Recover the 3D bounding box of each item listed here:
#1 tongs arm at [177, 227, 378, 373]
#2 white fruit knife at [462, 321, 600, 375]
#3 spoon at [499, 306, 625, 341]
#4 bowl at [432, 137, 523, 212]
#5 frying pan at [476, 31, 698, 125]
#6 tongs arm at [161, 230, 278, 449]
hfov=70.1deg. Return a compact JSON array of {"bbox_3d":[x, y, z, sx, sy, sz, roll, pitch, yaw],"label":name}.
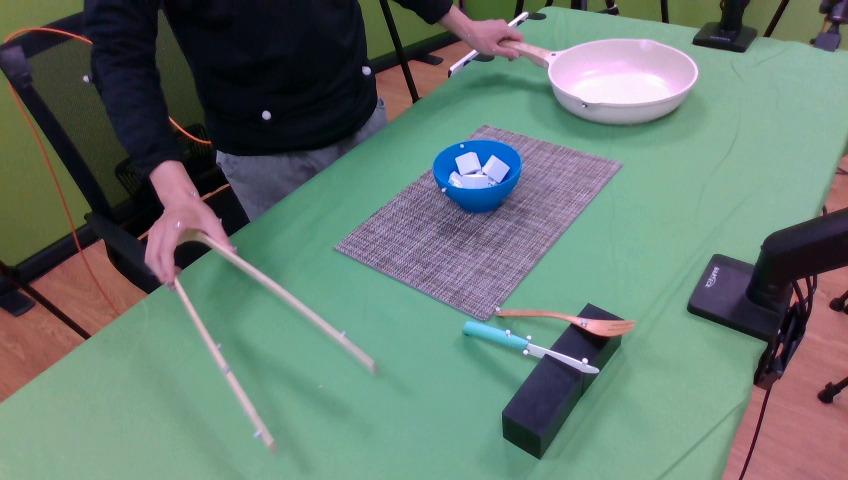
[{"bbox_3d":[-0.207,0.071,0.816,0.384,0.028,0.028,30,60,27],"label":"tongs arm"},{"bbox_3d":[0.126,0.132,0.752,0.205,0.027,0.016,12,47,42],"label":"white fruit knife"},{"bbox_3d":[0.169,0.102,0.773,0.042,0.021,0.192,-11,14,-38],"label":"spoon"},{"bbox_3d":[0.091,-0.100,1.022,0.151,0.077,0.150,-4,41,4],"label":"bowl"},{"bbox_3d":[0.321,-0.371,1.290,0.484,0.103,0.307,29,51,24],"label":"frying pan"},{"bbox_3d":[-0.264,0.110,0.782,0.051,0.026,0.381,-32,53,-22],"label":"tongs arm"}]
